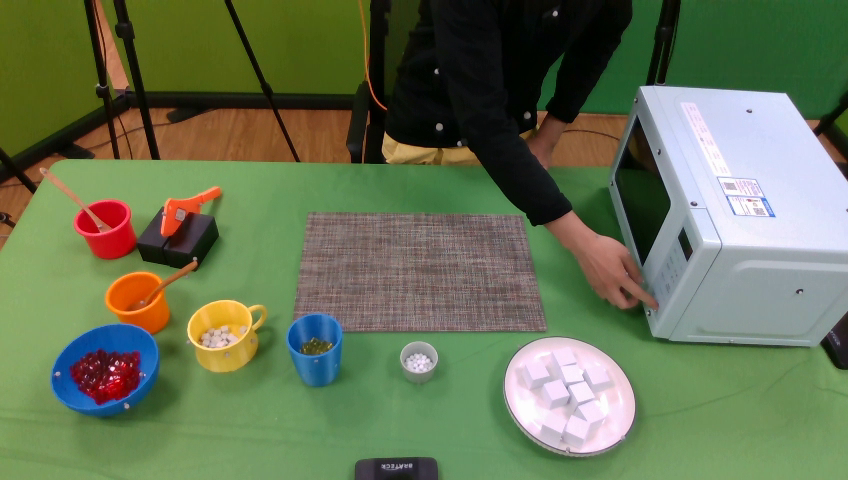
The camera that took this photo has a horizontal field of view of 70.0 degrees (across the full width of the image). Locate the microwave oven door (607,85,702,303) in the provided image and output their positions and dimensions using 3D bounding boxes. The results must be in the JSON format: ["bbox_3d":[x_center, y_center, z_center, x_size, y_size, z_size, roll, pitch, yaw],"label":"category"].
[{"bbox_3d":[0.423,-0.094,1.141,0.039,0.245,0.353,2,46,-1],"label":"microwave oven door"}]

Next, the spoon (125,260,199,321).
[{"bbox_3d":[-0.434,0.083,1.000,0.022,0.194,0.041,35,34,-35],"label":"spoon"}]

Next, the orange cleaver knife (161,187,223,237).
[{"bbox_3d":[-0.448,-0.058,1.181,0.012,0.077,0.211,13,17,6],"label":"orange cleaver knife"}]

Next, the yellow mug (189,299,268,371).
[{"bbox_3d":[-0.316,0.148,1.002,0.131,0.064,0.099,-32,56,-31],"label":"yellow mug"}]

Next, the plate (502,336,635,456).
[{"bbox_3d":[0.225,0.248,0.963,0.208,0.039,0.206,2,46,-2],"label":"plate"}]

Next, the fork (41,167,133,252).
[{"bbox_3d":[-0.624,-0.056,1.121,0.208,0.018,0.028,49,52,-15],"label":"fork"}]

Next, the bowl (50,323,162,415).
[{"bbox_3d":[-0.472,0.209,0.924,0.151,0.077,0.150,2,45,-2],"label":"bowl"}]

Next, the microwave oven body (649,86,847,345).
[{"bbox_3d":[0.568,-0.053,1.118,0.326,0.261,0.439,2,45,-1],"label":"microwave oven body"}]

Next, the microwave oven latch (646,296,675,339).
[{"bbox_3d":[0.412,0.134,1.061,0.030,0.029,0.078,4,45,1],"label":"microwave oven latch"}]

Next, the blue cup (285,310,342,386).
[{"bbox_3d":[-0.169,0.179,0.958,0.093,0.101,0.092,1,44,-1],"label":"blue cup"}]

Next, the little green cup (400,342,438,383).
[{"bbox_3d":[-0.009,0.202,0.991,0.061,0.039,0.061,2,47,-2],"label":"little green cup"}]
